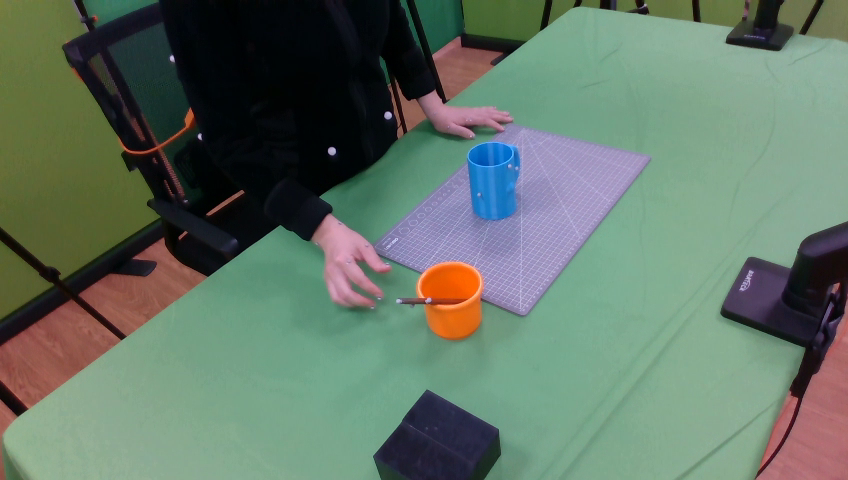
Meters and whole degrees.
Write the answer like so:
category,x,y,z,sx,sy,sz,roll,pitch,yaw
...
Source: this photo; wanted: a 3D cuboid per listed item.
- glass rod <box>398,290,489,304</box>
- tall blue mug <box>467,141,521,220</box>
category,x,y,z,sx,sy,sz,roll,pitch,yaw
glass rod,0.031,0.075,0.803,0.008,0.008,0.201,26,15,35
tall blue mug,0.119,-0.109,1.020,0.077,0.108,0.107,2,42,15
